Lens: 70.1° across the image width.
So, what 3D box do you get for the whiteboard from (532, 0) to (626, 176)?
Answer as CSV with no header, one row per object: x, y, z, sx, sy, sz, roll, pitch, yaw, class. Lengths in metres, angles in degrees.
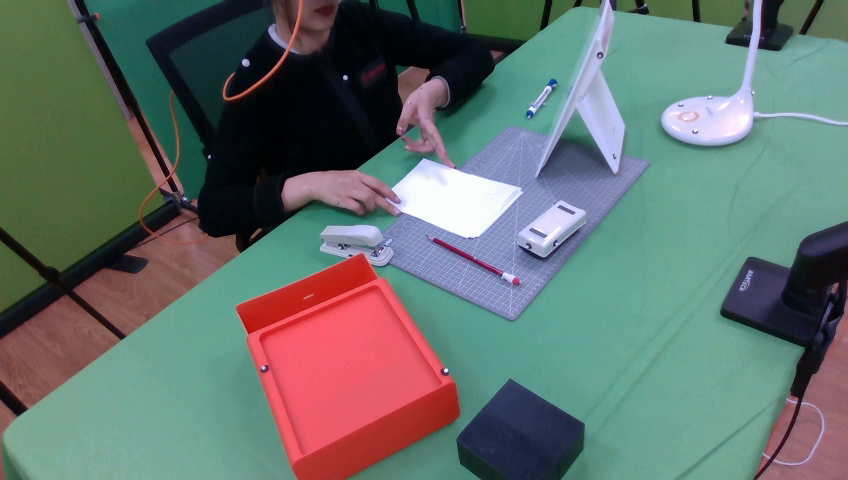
0.321,-0.258,1.050,0.144,0.306,0.217,22,45,5,whiteboard

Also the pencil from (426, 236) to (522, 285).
0.072,0.028,0.941,0.192,0.012,0.012,26,52,37,pencil

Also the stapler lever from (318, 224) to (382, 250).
-0.120,-0.010,0.972,0.117,0.040,0.027,11,44,27,stapler lever

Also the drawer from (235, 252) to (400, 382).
-0.125,0.132,0.804,0.195,0.073,0.210,-23,42,-17,drawer

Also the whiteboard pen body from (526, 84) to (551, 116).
0.251,-0.305,1.298,0.017,0.017,0.141,15,45,26,whiteboard pen body

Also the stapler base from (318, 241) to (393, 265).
-0.114,0.009,0.988,0.130,0.024,0.041,12,44,26,stapler base

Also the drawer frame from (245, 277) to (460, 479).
-0.093,0.167,0.755,0.202,0.083,0.211,-23,43,-17,drawer frame

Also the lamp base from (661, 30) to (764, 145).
0.535,-0.287,1.096,0.179,0.181,0.159,-10,40,-4,lamp base

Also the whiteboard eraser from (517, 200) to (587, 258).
0.201,-0.016,0.943,0.113,0.042,0.055,-37,46,-29,whiteboard eraser

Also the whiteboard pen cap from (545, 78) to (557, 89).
0.280,-0.344,1.335,0.018,0.018,0.033,15,45,26,whiteboard pen cap
